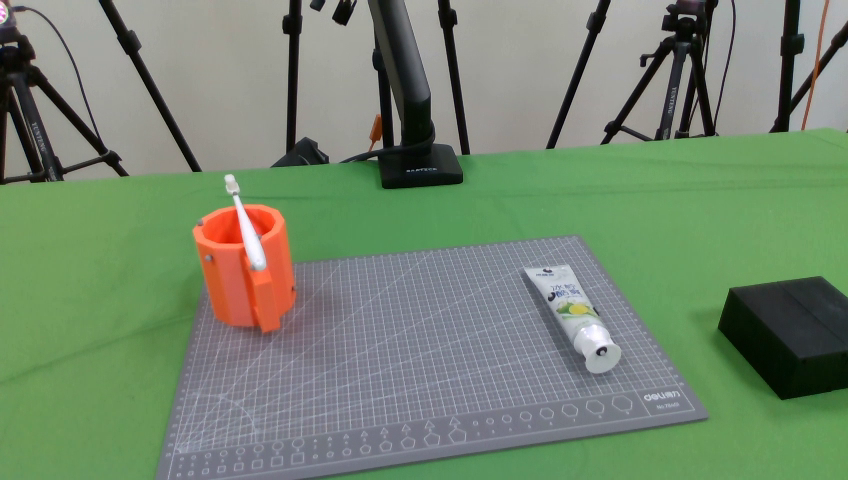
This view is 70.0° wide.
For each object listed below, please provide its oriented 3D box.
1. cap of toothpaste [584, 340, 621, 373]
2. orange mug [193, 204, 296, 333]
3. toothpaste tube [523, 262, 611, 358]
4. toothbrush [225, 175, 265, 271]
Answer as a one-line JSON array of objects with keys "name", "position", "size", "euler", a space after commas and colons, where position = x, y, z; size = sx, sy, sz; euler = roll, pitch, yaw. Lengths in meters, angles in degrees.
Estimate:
[{"name": "cap of toothpaste", "position": [0.160, 0.104, 0.547], "size": [0.037, 0.037, 0.011], "euler": [-10, 34, -13]}, {"name": "orange mug", "position": [-0.173, 0.032, 0.608], "size": [0.084, 0.101, 0.125], "euler": [-16, 32, -23]}, {"name": "toothpaste tube", "position": [0.151, 0.066, 0.617], "size": [0.055, 0.035, 0.163], "euler": [0, 28, -10]}, {"name": "toothbrush", "position": [-0.177, -0.022, 0.595], "size": [0.014, 0.017, 0.180], "euler": [-10, 34, -21]}]
